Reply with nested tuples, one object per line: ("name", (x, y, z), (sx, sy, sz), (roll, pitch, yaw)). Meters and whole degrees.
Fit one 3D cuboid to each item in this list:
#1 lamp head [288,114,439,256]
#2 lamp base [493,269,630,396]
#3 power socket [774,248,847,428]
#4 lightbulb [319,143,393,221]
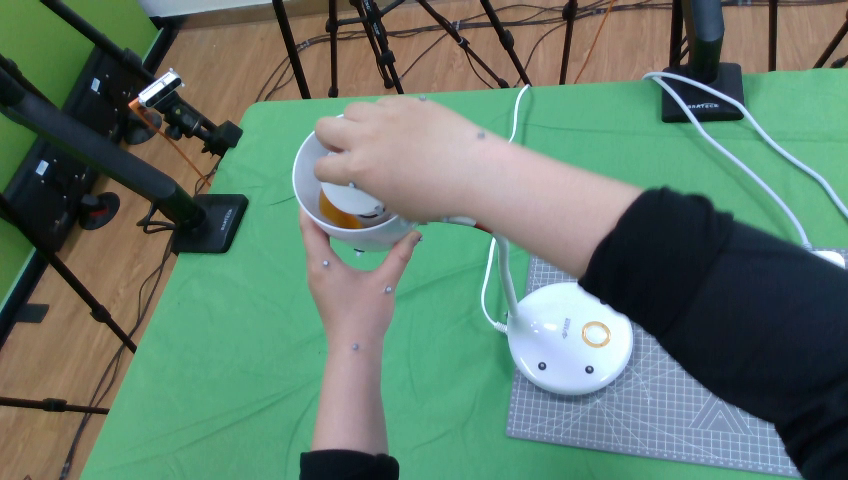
("lamp head", (-0.046, -0.035, 0.540), (0.112, 0.124, 0.111), (-4, 67, 10))
("lamp base", (0.157, 0.089, 0.744), (0.178, 0.182, 0.159), (-5, 57, 19))
("power socket", (0.470, 0.107, 0.723), (0.072, 0.033, 0.225), (1, 58, 17))
("lightbulb", (-0.053, -0.042, 0.515), (0.059, 0.108, 0.059), (-1, 73, 5))
